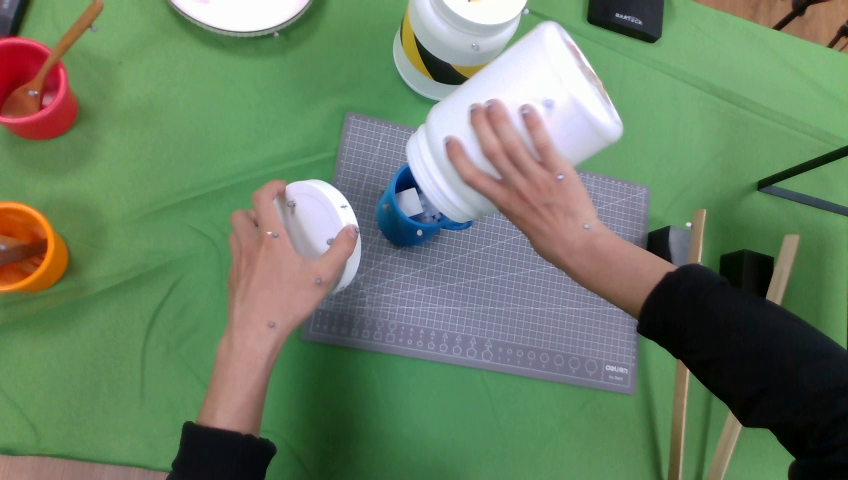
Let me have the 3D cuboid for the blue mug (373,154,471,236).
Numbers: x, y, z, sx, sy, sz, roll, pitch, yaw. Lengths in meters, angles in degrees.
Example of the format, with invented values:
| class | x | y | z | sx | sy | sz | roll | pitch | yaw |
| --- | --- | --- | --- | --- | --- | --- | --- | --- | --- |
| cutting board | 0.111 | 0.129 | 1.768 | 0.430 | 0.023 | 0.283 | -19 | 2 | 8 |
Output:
| class | x | y | z | sx | sy | sz | roll | pitch | yaw |
| --- | --- | --- | --- | --- | --- | --- | --- | --- | --- |
| blue mug | 0.001 | -0.049 | 0.738 | 0.117 | 0.106 | 0.082 | 19 | 75 | -11 |

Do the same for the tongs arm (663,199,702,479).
| class | x | y | z | sx | sy | sz | roll | pitch | yaw |
| --- | --- | --- | --- | --- | --- | --- | --- | --- | --- |
| tongs arm | 0.352 | 0.140 | 0.798 | 0.051 | 0.026 | 0.384 | 7 | 90 | -16 |

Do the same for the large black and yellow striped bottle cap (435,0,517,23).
| class | x | y | z | sx | sy | sz | roll | pitch | yaw |
| --- | --- | --- | --- | --- | --- | --- | --- | --- | --- |
| large black and yellow striped bottle cap | 0.055 | -0.298 | 0.671 | 0.115 | 0.019 | 0.114 | 3 | 80 | -15 |

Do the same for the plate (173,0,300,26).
| class | x | y | z | sx | sy | sz | roll | pitch | yaw |
| --- | --- | --- | --- | --- | --- | --- | --- | --- | --- |
| plate | -0.242 | -0.364 | 0.768 | 0.208 | 0.039 | 0.207 | 3 | 79 | -14 |

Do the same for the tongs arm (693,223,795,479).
| class | x | y | z | sx | sy | sz | roll | pitch | yaw |
| --- | --- | --- | --- | --- | --- | --- | --- | --- | --- |
| tongs arm | 0.430 | 0.157 | 0.818 | 0.028 | 0.027 | 0.387 | 21 | 87 | -19 |

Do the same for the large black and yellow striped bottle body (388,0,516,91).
| class | x | y | z | sx | sy | sz | roll | pitch | yaw |
| --- | --- | --- | --- | --- | --- | --- | --- | --- | --- |
| large black and yellow striped bottle body | 0.035 | -0.280 | 0.750 | 0.131 | 0.184 | 0.130 | 3 | 79 | -14 |

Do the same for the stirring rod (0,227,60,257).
| class | x | y | z | sx | sy | sz | roll | pitch | yaw |
| --- | --- | --- | --- | --- | --- | --- | --- | --- | --- |
| stirring rod | -0.441 | 0.017 | 0.595 | 0.014 | 0.006 | 0.176 | 58 | 30 | -2 |

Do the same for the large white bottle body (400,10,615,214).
| class | x | y | z | sx | sy | sz | roll | pitch | yaw |
| --- | --- | --- | --- | --- | --- | --- | --- | --- | --- |
| large white bottle body | 0.077 | -0.117 | 0.601 | 0.132 | 0.184 | 0.129 | 37 | 35 | -31 |

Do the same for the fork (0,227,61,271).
| class | x | y | z | sx | sy | sz | roll | pitch | yaw |
| --- | --- | --- | --- | --- | --- | --- | --- | --- | --- |
| fork | -0.456 | -0.025 | 0.592 | 0.209 | 0.018 | 0.028 | 46 | 64 | -48 |

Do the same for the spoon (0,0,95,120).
| class | x | y | z | sx | sy | sz | roll | pitch | yaw |
| --- | --- | --- | --- | --- | --- | --- | --- | --- | --- |
| spoon | -0.401 | -0.194 | 0.640 | 0.194 | 0.021 | 0.041 | -36 | 86 | 26 |

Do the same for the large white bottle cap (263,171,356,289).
| class | x | y | z | sx | sy | sz | roll | pitch | yaw |
| --- | --- | --- | --- | --- | --- | --- | --- | --- | --- |
| large white bottle cap | -0.112 | -0.009 | 0.586 | 0.018 | 0.114 | 0.114 | -14 | 82 | -53 |
